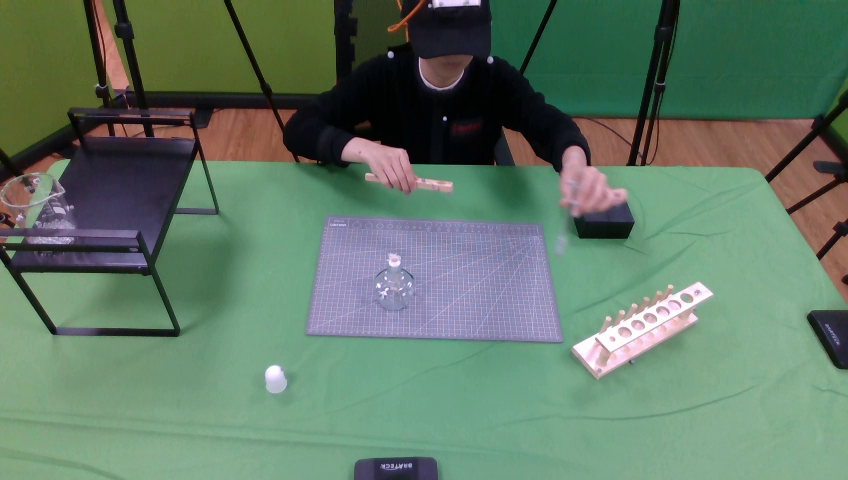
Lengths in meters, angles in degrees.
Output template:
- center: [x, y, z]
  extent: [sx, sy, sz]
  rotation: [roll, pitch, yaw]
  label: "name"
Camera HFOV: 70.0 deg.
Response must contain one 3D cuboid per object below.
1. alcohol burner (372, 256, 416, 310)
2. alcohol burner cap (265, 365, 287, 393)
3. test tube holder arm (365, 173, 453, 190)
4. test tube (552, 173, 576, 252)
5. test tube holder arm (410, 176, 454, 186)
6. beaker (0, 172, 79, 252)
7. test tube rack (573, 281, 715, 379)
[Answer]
- center: [-0.052, 0.068, 1.057]
  extent: [0.078, 0.120, 0.077]
  rotation: [1, 48, -1]
  label: "alcohol burner"
- center: [-0.236, 0.216, 0.956]
  extent: [0.034, 0.048, 0.033]
  rotation: [3, 45, -3]
  label: "alcohol burner cap"
- center: [-0.031, -0.112, 1.155]
  extent: [0.178, 0.015, 0.013]
  rotation: [8, 29, 17]
  label: "test tube holder arm"
- center: [0.219, -0.040, 0.953]
  extent: [0.017, 0.151, 0.017]
  rotation: [1, 40, -1]
  label: "test tube"
- center: [0.013, -0.109, 1.147]
  extent: [0.087, 0.015, 0.010]
  rotation: [8, 29, 17]
  label: "test tube holder arm"
- center: [-0.557, -0.038, 0.889]
  extent: [0.084, 0.101, 0.073]
  rotation: [-3, 46, -7]
  label: "beaker"
- center: [0.378, 0.140, 1.038]
  extent: [0.242, 0.085, 0.066]
  rotation: [-22, 51, -23]
  label: "test tube rack"
